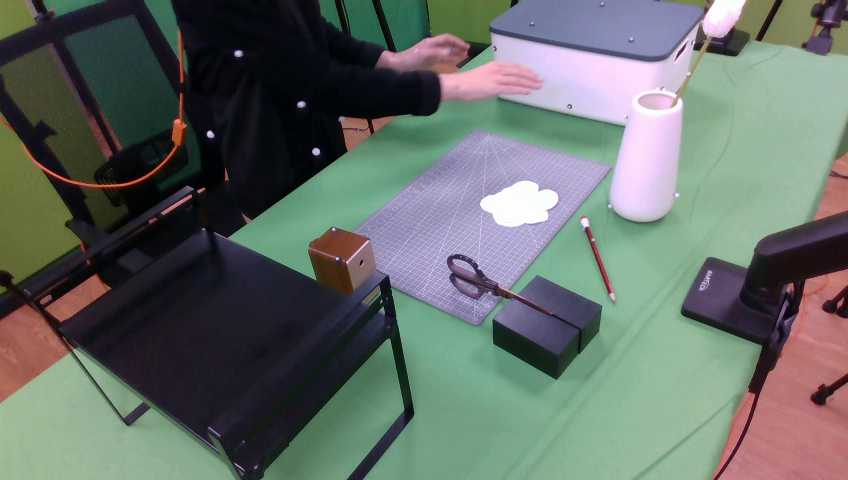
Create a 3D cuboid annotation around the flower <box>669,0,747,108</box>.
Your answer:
[{"bbox_3d":[0.355,-0.187,0.880,0.038,0.362,0.044,30,48,14],"label":"flower"}]

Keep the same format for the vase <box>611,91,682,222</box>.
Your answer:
[{"bbox_3d":[0.348,-0.125,0.935,0.098,0.201,0.097,-3,40,3],"label":"vase"}]

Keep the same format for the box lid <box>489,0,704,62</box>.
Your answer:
[{"bbox_3d":[0.346,-0.440,1.218,0.369,0.015,0.264,21,48,29],"label":"box lid"}]

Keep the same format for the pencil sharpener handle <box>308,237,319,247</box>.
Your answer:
[{"bbox_3d":[-0.159,0.017,0.892,0.030,0.068,0.036,18,61,28],"label":"pencil sharpener handle"}]

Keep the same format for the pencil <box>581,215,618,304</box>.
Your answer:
[{"bbox_3d":[0.266,0.026,0.917,0.012,0.012,0.193,-6,42,1],"label":"pencil"}]

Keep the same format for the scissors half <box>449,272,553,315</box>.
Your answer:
[{"bbox_3d":[0.104,0.076,0.834,0.173,0.040,0.013,15,48,42],"label":"scissors half"}]

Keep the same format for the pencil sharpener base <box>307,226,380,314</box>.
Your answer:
[{"bbox_3d":[-0.116,0.043,0.875,0.076,0.107,0.061,18,47,27],"label":"pencil sharpener base"}]

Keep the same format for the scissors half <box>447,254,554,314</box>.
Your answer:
[{"bbox_3d":[0.101,0.060,0.821,0.174,0.040,0.013,28,50,29],"label":"scissors half"}]

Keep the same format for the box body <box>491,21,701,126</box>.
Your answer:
[{"bbox_3d":[0.352,-0.384,1.267,0.361,0.161,0.255,21,48,29],"label":"box body"}]
